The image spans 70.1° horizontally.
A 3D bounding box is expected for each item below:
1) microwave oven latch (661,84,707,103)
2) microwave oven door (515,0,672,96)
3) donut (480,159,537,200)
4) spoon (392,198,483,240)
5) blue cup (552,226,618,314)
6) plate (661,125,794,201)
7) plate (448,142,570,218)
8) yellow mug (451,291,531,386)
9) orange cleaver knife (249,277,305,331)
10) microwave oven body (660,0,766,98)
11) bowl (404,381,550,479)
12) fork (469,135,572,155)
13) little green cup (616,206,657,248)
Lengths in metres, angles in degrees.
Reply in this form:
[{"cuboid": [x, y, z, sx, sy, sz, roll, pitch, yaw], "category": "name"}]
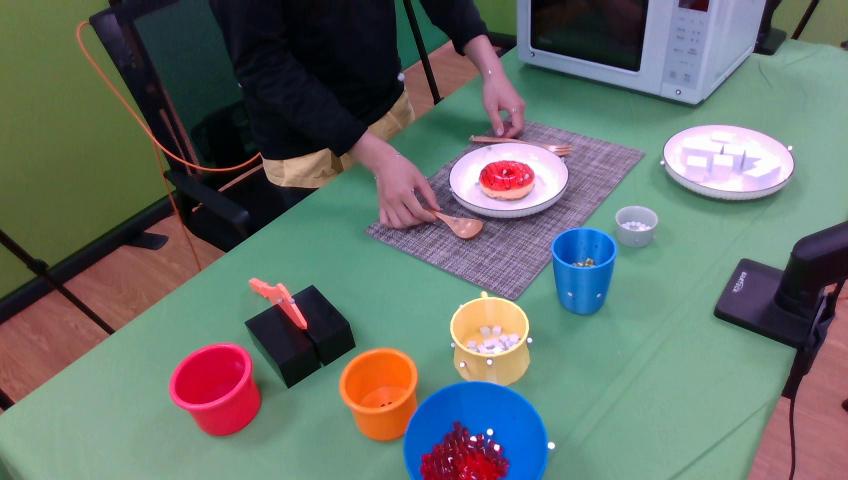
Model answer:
[{"cuboid": [0.517, -0.296, 1.204, 0.078, 0.029, 0.030, 27, 52, 35], "category": "microwave oven latch"}, {"cuboid": [0.344, -0.455, 1.260, 0.353, 0.245, 0.039, 26, 51, 33], "category": "microwave oven door"}, {"cuboid": [0.145, -0.106, 1.042, 0.099, 0.048, 0.098, -4, 38, 4], "category": "donut"}, {"cuboid": [0.018, -0.042, 1.016, 0.192, 0.022, 0.041, 24, 72, 31], "category": "spoon"}, {"cuboid": [0.218, 0.047, 0.826, 0.092, 0.101, 0.092, -6, 40, 5], "category": "blue cup"}, {"cuboid": [0.513, -0.128, 1.035, 0.207, 0.039, 0.206, -4, 40, 4], "category": "plate"}, {"cuboid": [0.148, -0.101, 1.053, 0.209, 0.038, 0.208, -4, 40, 4], "category": "plate"}, {"cuboid": [0.085, 0.120, 0.786, 0.100, 0.064, 0.130, -7, 39, 1], "category": "yellow mug"}, {"cuboid": [-0.210, 0.088, 0.856, 0.012, 0.077, 0.210, -28, 15, -25], "category": "orange cleaver knife"}, {"cuboid": [0.473, -0.514, 1.317, 0.438, 0.261, 0.327, 26, 51, 34], "category": "microwave oven body"}, {"cuboid": [0.058, 0.235, 0.645, 0.151, 0.077, 0.150, -4, 39, 4], "category": "bowl"}, {"cuboid": [0.182, -0.185, 1.160, 0.206, 0.019, 0.028, 13, 67, 21], "category": "fork"}, {"cuboid": [0.327, -0.019, 0.935, 0.061, 0.039, 0.061, -4, 40, 4], "category": "little green cup"}]
